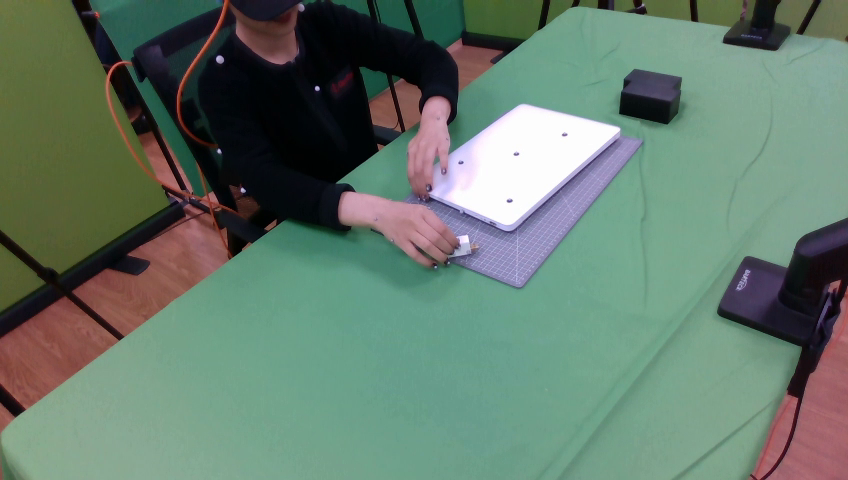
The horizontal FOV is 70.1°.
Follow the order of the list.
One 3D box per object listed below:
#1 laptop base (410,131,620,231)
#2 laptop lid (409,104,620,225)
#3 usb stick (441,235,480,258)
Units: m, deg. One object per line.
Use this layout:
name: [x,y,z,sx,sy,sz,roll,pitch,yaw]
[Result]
laptop base: [0.174,-0.146,1.123,0.233,0.023,0.355,24,50,38]
laptop lid: [0.170,-0.156,1.117,0.239,0.013,0.358,27,51,38]
usb stick: [0.058,0.010,0.948,0.059,0.027,0.021,-7,32,0]
